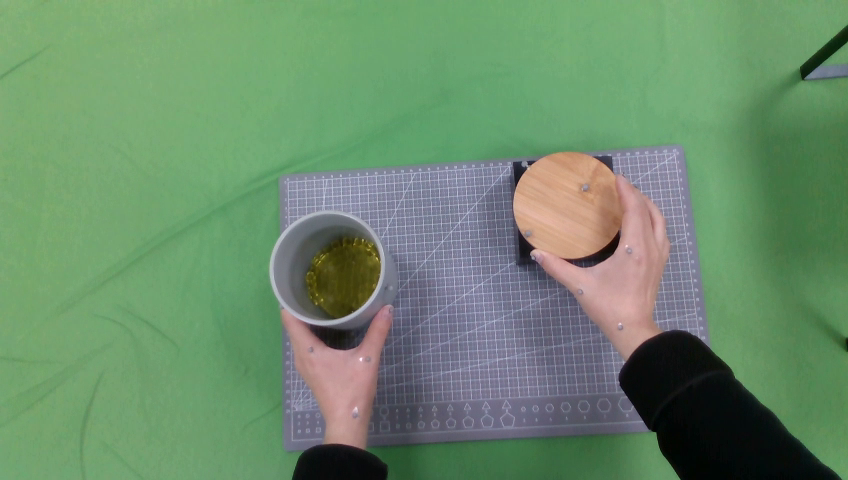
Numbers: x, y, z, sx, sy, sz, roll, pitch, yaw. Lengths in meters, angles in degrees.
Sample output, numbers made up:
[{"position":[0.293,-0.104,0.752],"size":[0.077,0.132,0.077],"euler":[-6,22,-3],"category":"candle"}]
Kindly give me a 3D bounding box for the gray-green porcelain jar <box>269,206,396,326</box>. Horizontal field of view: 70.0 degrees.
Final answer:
[{"position":[-0.083,0.031,0.601],"size":[0.106,0.127,0.105],"euler":[0,80,3],"category":"gray-green porcelain jar"}]

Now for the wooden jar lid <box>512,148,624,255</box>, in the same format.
[{"position":[0.142,-0.038,0.603],"size":[0.108,0.021,0.108],"euler":[-1,81,5],"category":"wooden jar lid"}]
